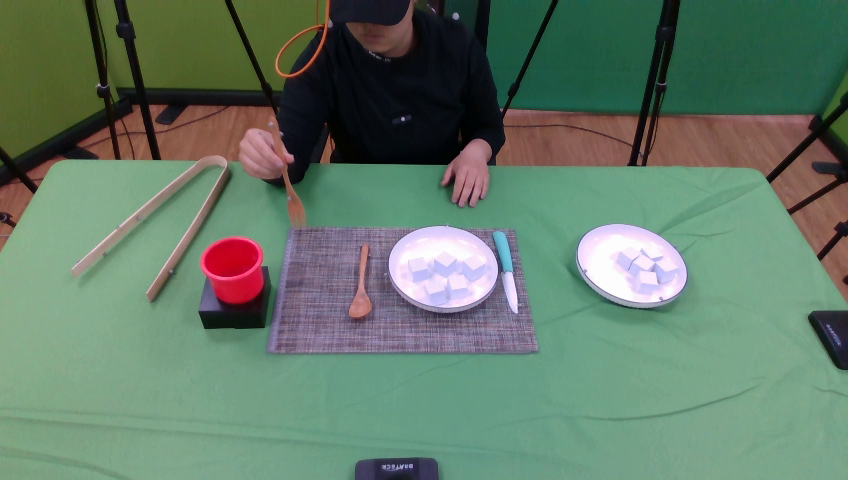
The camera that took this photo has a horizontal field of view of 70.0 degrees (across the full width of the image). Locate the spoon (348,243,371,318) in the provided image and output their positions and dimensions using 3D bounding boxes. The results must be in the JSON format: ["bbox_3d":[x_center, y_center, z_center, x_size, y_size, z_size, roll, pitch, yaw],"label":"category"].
[{"bbox_3d":[-0.113,0.070,1.115,0.041,0.022,0.192,-11,45,11],"label":"spoon"}]

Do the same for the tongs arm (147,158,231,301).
[{"bbox_3d":[-0.454,-0.034,1.195,0.028,0.028,0.385,7,46,6],"label":"tongs arm"}]

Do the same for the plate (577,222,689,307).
[{"bbox_3d":[0.396,0.050,1.165,0.209,0.038,0.208,2,47,-2],"label":"plate"}]

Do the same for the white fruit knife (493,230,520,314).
[{"bbox_3d":[0.160,0.057,1.154,0.027,0.016,0.206,-21,46,16],"label":"white fruit knife"}]

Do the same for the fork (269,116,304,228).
[{"bbox_3d":[-0.226,-0.106,0.993,0.028,0.208,0.018,-1,39,6],"label":"fork"}]

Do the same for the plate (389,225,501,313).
[{"bbox_3d":[0.038,0.057,1.129,0.208,0.039,0.206,2,46,-2],"label":"plate"}]

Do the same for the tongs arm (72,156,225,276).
[{"bbox_3d":[-0.531,-0.058,1.205,0.050,0.026,0.383,19,47,12],"label":"tongs arm"}]
